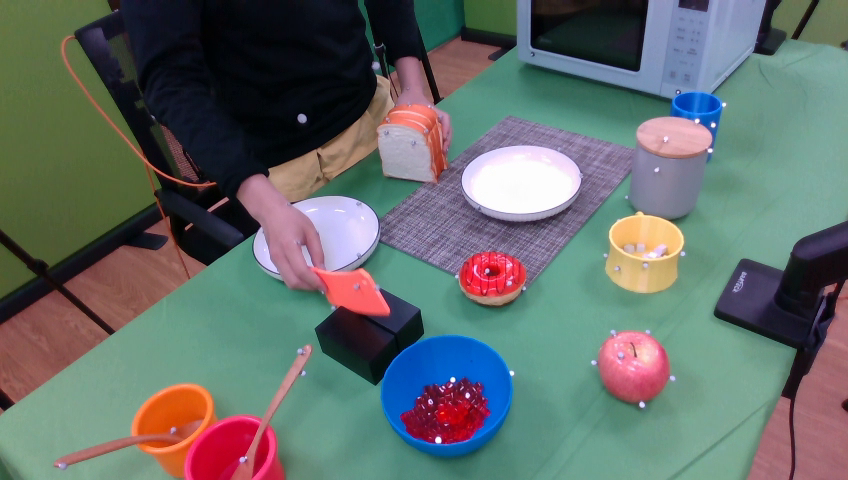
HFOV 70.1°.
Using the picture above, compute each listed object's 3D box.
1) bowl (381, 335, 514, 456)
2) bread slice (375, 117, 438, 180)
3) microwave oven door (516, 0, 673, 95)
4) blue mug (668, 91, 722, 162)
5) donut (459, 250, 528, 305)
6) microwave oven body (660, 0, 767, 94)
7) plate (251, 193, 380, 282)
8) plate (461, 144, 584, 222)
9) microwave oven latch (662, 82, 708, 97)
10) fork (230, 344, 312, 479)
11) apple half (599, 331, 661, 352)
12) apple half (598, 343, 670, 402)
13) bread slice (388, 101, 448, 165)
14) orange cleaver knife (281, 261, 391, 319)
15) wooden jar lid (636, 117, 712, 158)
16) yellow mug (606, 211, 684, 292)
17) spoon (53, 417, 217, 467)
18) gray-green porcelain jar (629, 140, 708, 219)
[{"bbox_3d":[0.029,0.192,0.701,0.151,0.077,0.150,-4,40,4],"label":"bowl"},{"bbox_3d":[-0.035,-0.162,1.073,0.106,0.135,0.018,8,54,18],"label":"bread slice"},{"bbox_3d":[0.344,-0.458,1.256,0.353,0.245,0.039,26,51,33],"label":"microwave oven door"},{"bbox_3d":[0.474,-0.207,1.078,0.082,0.106,0.116,4,42,13],"label":"blue mug"},{"bbox_3d":[0.100,0.053,0.872,0.099,0.048,0.098,-5,40,5],"label":"donut"},{"bbox_3d":[0.473,-0.516,1.313,0.438,0.261,0.327,26,51,34],"label":"microwave oven body"},{"bbox_3d":[-0.173,-0.001,0.984,0.209,0.038,0.208,-3,40,3],"label":"plate"},{"bbox_3d":[0.167,-0.095,1.040,0.207,0.039,0.206,-4,40,4],"label":"plate"},{"bbox_3d":[0.518,-0.298,1.203,0.078,0.029,0.030,28,53,35],"label":"microwave oven latch"},{"bbox_3d":[-0.173,0.205,0.662,0.028,0.019,0.207,29,94,36],"label":"fork"},{"bbox_3d":[0.249,0.134,0.738,0.081,0.081,0.032,-1,46,7],"label":"apple half"},{"bbox_3d":[0.247,0.161,0.710,0.081,0.075,0.053,2,47,5],"label":"apple half"},{"bbox_3d":[-0.012,-0.195,1.107,0.104,0.132,0.019,7,47,15],"label":"bread slice"},{"bbox_3d":[-0.123,0.066,0.819,0.209,0.077,0.012,8,37,44],"label":"orange cleaver knife"},{"bbox_3d":[0.377,-0.151,0.917,0.108,0.021,0.108,-2,41,2],"label":"wooden jar lid"},{"bbox_3d":[0.318,0.008,0.883,0.100,0.064,0.130,0,41,9],"label":"yellow mug"},{"bbox_3d":[-0.308,0.219,0.663,0.041,0.195,0.021,24,94,29],"label":"spoon"},{"bbox_3d":[0.383,-0.105,0.958,0.106,0.127,0.105,-4,41,4],"label":"gray-green porcelain jar"}]
